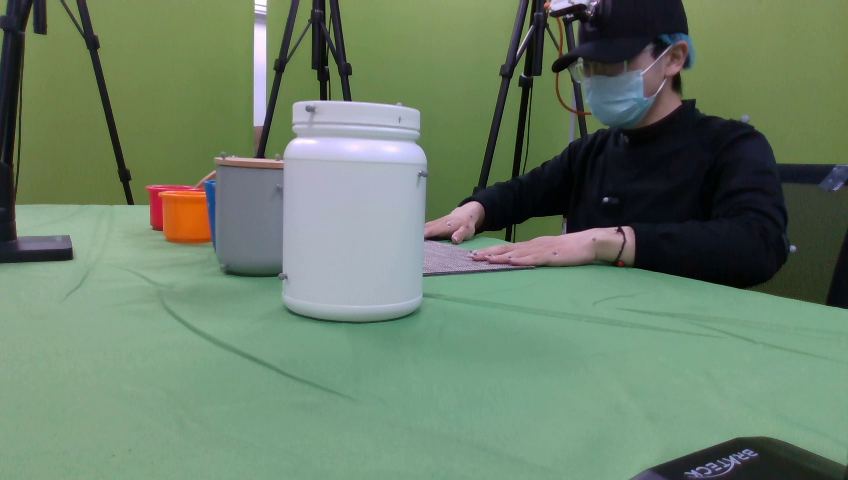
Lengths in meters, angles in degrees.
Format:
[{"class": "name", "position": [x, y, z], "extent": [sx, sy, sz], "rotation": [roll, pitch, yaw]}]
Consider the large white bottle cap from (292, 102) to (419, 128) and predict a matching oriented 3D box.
[{"class": "large white bottle cap", "position": [-0.061, -0.111, 0.547], "extent": [0.115, 0.018, 0.115], "rotation": [2, 8, 0]}]

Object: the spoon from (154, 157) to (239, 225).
[{"class": "spoon", "position": [-0.411, -0.092, 1.105], "extent": [0.041, 0.022, 0.194], "rotation": [13, 57, 51]}]

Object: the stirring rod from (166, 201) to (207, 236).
[{"class": "stirring rod", "position": [-0.341, -0.066, 0.966], "extent": [0.176, 0.006, 0.014], "rotation": [-42, 23, -9]}]

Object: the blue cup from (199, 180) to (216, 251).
[{"class": "blue cup", "position": [-0.267, -0.032, 0.861], "extent": [0.093, 0.100, 0.092], "rotation": [2, 9, 0]}]

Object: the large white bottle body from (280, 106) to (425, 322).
[{"class": "large white bottle body", "position": [-0.065, -0.028, 0.559], "extent": [0.131, 0.184, 0.130], "rotation": [2, 7, 0]}]

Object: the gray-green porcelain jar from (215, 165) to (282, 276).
[{"class": "gray-green porcelain jar", "position": [-0.195, -0.024, 0.726], "extent": [0.106, 0.126, 0.106], "rotation": [3, 7, 0]}]

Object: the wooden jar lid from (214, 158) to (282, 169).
[{"class": "wooden jar lid", "position": [-0.193, -0.085, 0.719], "extent": [0.108, 0.020, 0.108], "rotation": [2, 9, 0]}]
